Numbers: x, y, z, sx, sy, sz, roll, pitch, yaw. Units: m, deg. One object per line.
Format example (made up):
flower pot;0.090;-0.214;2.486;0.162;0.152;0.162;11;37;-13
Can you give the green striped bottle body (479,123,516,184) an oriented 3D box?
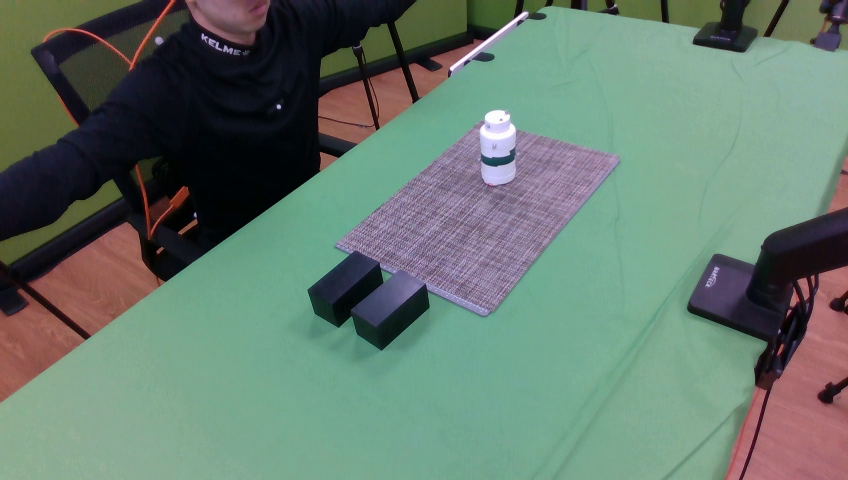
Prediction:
green striped bottle body;0.129;-0.162;1.058;0.063;0.120;0.063;-4;41;4

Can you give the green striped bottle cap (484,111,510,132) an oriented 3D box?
green striped bottle cap;0.123;-0.201;1.024;0.044;0.020;0.044;-3;39;3
